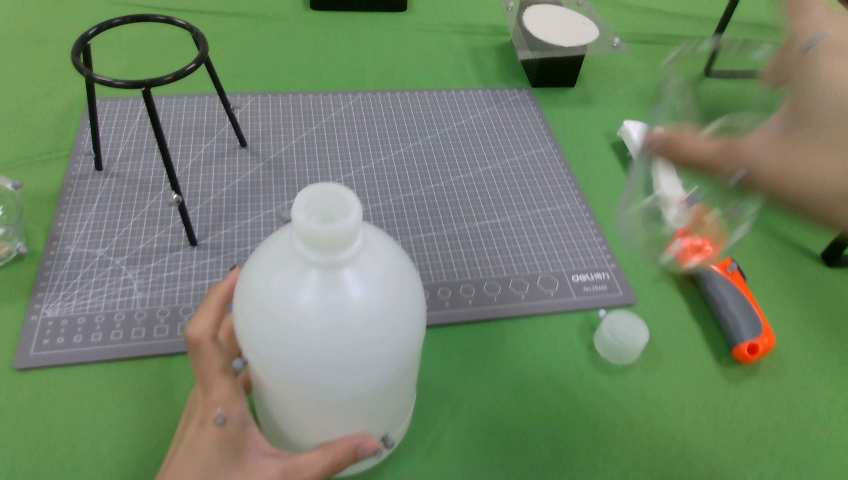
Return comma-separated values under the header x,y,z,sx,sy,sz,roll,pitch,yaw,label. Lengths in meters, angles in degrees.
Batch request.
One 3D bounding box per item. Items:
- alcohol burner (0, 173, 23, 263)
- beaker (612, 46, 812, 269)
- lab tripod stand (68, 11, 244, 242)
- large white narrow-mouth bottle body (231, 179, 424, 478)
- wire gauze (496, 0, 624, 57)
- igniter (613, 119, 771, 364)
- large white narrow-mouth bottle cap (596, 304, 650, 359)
x,y,z,sx,sy,sz,roll,pitch,yaw,label
-0.330,-0.033,0.418,0.078,0.120,0.077,5,47,-5,alcohol burner
0.144,-0.039,0.324,0.073,0.101,0.084,30,51,27,beaker
-0.202,-0.092,0.469,0.148,0.132,0.147,5,49,-6,lab tripod stand
-0.051,0.048,0.330,0.102,0.196,0.101,3,48,-3,large white narrow-mouth bottle body
0.144,-0.238,0.668,0.122,0.011,0.123,-3,50,-12,wire gauze
0.228,-0.013,0.533,0.057,0.025,0.273,5,48,-18,igniter
0.149,0.069,0.456,0.038,0.024,0.037,4,48,-4,large white narrow-mouth bottle cap
